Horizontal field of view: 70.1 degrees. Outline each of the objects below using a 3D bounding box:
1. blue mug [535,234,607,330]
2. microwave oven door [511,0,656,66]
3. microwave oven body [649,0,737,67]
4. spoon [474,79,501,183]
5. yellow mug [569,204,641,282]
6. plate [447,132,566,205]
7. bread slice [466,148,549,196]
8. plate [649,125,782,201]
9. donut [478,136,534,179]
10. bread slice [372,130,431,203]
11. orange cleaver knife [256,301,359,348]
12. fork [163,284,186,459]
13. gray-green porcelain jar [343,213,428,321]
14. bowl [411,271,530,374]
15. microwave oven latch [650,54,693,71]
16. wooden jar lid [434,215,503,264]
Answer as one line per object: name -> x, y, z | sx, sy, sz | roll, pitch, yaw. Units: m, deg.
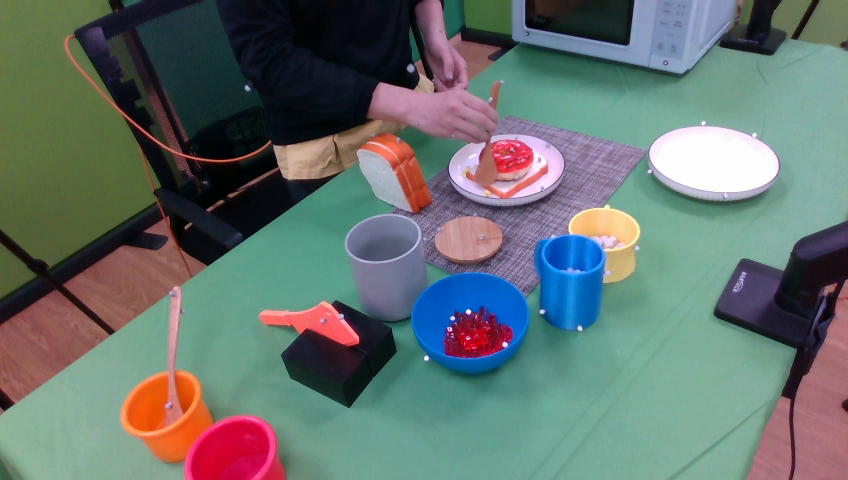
blue mug -> 0.191, 0.048, 0.824 | 0.082, 0.106, 0.115 | -26, 44, -20
microwave oven door -> 0.351, -0.540, 1.349 | 0.353, 0.245, 0.039 | 24, 50, 31
microwave oven body -> 0.475, -0.602, 1.411 | 0.438, 0.261, 0.327 | 23, 50, 32
spoon -> 0.105, -0.170, 0.977 | 0.042, 0.194, 0.021 | -5, 38, -8
yellow mug -> 0.268, -0.005, 0.904 | 0.099, 0.064, 0.130 | 7, 42, 15
plate -> 0.146, -0.124, 1.076 | 0.209, 0.038, 0.208 | -4, 41, 4
bread slice -> 0.156, -0.129, 1.085 | 0.132, 0.019, 0.104 | -34, 48, -23
plate -> 0.493, -0.127, 1.036 | 0.207, 0.039, 0.206 | -4, 41, 4
donut -> 0.143, -0.146, 1.057 | 0.099, 0.048, 0.098 | -3, 41, 3
bread slice -> -0.042, -0.127, 1.038 | 0.106, 0.135, 0.018 | 29, 62, 33
orange cleaver knife -> -0.160, 0.115, 0.813 | 0.210, 0.077, 0.012 | -9, 29, 48
fork -> -0.302, 0.157, 0.733 | 0.028, 0.019, 0.207 | -3, 84, 16
gray-green porcelain jar -> -0.049, 0.042, 0.849 | 0.106, 0.127, 0.105 | -4, 41, 4
bowl -> 0.062, 0.120, 0.780 | 0.151, 0.077, 0.150 | -4, 40, 4
microwave oven latch -> 0.531, -0.386, 1.301 | 0.078, 0.029, 0.030 | 26, 51, 33
wooden jar lid -> 0.070, 0.001, 0.956 | 0.108, 0.021, 0.108 | -4, 40, 4
